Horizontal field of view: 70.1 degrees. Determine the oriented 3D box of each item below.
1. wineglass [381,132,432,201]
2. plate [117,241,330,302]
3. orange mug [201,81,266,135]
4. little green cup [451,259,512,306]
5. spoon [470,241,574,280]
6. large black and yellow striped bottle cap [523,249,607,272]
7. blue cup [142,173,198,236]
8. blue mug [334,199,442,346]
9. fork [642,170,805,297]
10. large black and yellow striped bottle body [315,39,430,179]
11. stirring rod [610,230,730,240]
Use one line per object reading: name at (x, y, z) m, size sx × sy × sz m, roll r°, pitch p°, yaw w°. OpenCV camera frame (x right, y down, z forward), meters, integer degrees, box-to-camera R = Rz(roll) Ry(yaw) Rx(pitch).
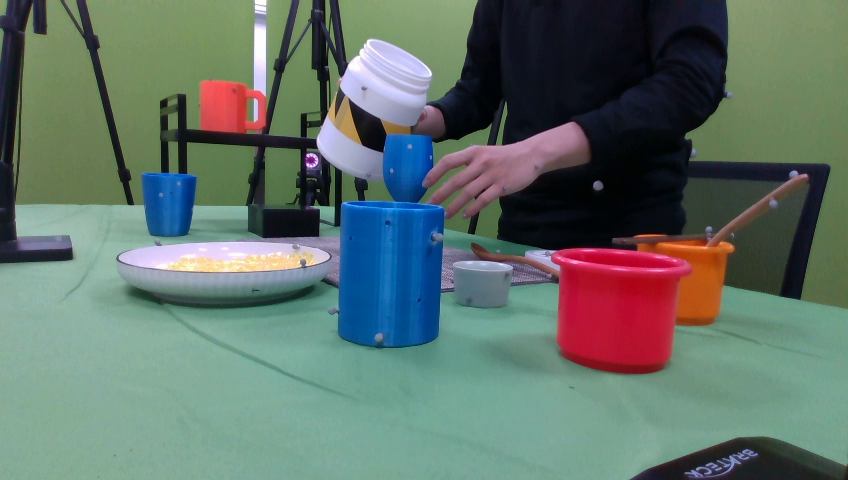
wineglass at (-0.026, -0.062, 0.841) m, size 0.074 × 0.172 × 0.073 m, roll 2°, pitch 8°, yaw 0°
plate at (-0.203, 0.031, 0.630) m, size 0.209 × 0.038 × 0.209 m, roll 3°, pitch 7°, yaw 0°
orange mug at (-0.376, -0.260, 1.198) m, size 0.126 × 0.101 × 0.083 m, roll -3°, pitch 8°, yaw -6°
little green cup at (0.057, 0.043, 0.611) m, size 0.061 × 0.038 × 0.061 m, roll 3°, pitch 8°, yaw 0°
spoon at (0.124, 0.025, 0.800) m, size 0.042 × 0.021 × 0.192 m, roll 22°, pitch -5°, yaw -34°
large black and yellow striped bottle cap at (0.198, 0.028, 0.851) m, size 0.115 × 0.019 × 0.115 m, roll 5°, pitch 5°, yaw 0°
blue cup at (-0.425, -0.060, 1.014) m, size 0.093 × 0.100 × 0.092 m, roll 4°, pitch 9°, yaw 0°
blue mug at (-0.034, 0.020, 0.498) m, size 0.083 × 0.106 × 0.116 m, roll 0°, pitch 7°, yaw -20°
fork at (0.261, 0.004, 0.545) m, size 0.028 × 0.018 × 0.207 m, roll 5°, pitch -37°, yaw -15°
large black and yellow striped bottle body at (-0.078, -0.203, 0.941) m, size 0.131 × 0.183 × 0.130 m, roll 23°, pitch 27°, yaw -13°
stirring rod at (0.241, -0.005, 0.581) m, size 0.177 × 0.006 × 0.014 m, roll -2°, pitch 10°, yaw -34°
